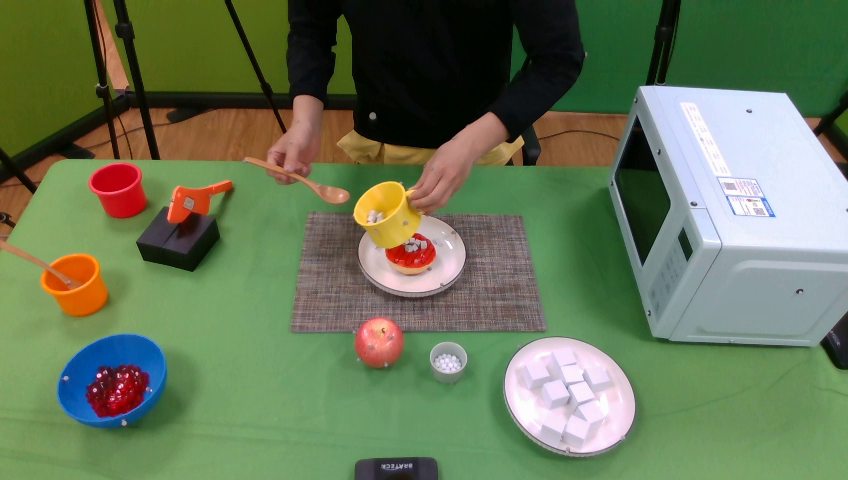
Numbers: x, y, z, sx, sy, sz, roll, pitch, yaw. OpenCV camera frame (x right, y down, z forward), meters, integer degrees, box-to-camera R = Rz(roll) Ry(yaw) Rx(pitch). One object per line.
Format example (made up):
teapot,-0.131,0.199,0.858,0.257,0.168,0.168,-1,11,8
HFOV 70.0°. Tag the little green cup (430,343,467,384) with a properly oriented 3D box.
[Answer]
little green cup,0.039,0.203,0.993,0.061,0.039,0.061,2,46,-2

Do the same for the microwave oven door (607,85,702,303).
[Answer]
microwave oven door,0.423,-0.094,1.140,0.039,0.245,0.353,2,46,-1

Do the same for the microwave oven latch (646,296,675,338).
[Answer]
microwave oven latch,0.412,0.134,1.061,0.030,0.029,0.078,3,45,0

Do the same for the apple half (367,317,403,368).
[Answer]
apple half,-0.061,0.167,0.998,0.053,0.075,0.080,-11,44,-20

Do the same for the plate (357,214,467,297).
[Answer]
plate,-0.023,0.031,1.149,0.209,0.038,0.208,3,46,-2

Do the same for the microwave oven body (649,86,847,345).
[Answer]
microwave oven body,0.568,-0.053,1.118,0.326,0.261,0.439,2,45,-1

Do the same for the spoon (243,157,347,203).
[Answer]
spoon,-0.228,-0.110,1.077,0.194,0.022,0.041,25,47,-7

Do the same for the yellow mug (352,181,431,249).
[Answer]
yellow mug,-0.051,-0.050,1.045,0.131,0.064,0.099,-23,42,11

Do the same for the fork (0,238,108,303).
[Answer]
fork,-0.633,0.048,1.017,0.208,0.018,0.028,40,41,-27

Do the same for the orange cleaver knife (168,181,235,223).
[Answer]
orange cleaver knife,-0.436,-0.077,1.196,0.012,0.077,0.211,16,15,10

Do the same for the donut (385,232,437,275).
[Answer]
donut,-0.024,0.023,1.141,0.099,0.048,0.098,4,44,-3

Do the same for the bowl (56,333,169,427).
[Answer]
bowl,-0.456,0.223,0.911,0.151,0.077,0.150,3,46,-2

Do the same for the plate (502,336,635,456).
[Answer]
plate,0.225,0.248,0.963,0.208,0.039,0.206,2,46,-2

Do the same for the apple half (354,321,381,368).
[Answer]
apple half,-0.097,0.176,0.985,0.033,0.081,0.080,-12,48,-20
